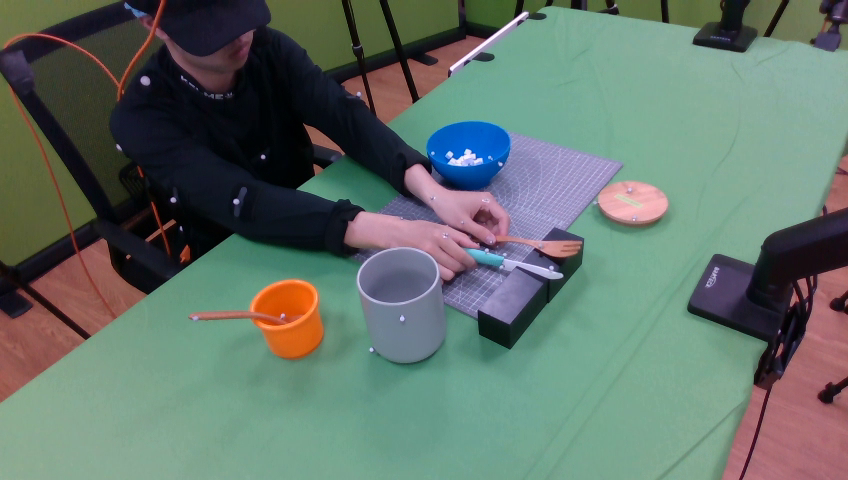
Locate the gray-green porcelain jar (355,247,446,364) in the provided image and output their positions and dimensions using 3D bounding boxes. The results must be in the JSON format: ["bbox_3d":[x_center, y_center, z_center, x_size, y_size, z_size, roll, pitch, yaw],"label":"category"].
[{"bbox_3d":[-0.027,0.090,0.786,0.106,0.127,0.105,-4,41,4],"label":"gray-green porcelain jar"}]

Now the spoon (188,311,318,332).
[{"bbox_3d":[-0.216,0.102,0.784,0.041,0.195,0.021,27,95,39],"label":"spoon"}]

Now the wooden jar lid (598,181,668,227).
[{"bbox_3d":[0.340,-0.058,0.989,0.108,0.021,0.108,-5,41,5],"label":"wooden jar lid"}]

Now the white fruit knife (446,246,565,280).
[{"bbox_3d":[0.111,0.033,0.867,0.205,0.027,0.016,11,43,40],"label":"white fruit knife"}]

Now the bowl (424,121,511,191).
[{"bbox_3d":[0.080,-0.141,1.074,0.151,0.077,0.150,-4,40,4],"label":"bowl"}]

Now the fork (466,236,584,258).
[{"bbox_3d":[0.141,0.006,0.891,0.205,0.019,0.028,10,46,42],"label":"fork"}]
